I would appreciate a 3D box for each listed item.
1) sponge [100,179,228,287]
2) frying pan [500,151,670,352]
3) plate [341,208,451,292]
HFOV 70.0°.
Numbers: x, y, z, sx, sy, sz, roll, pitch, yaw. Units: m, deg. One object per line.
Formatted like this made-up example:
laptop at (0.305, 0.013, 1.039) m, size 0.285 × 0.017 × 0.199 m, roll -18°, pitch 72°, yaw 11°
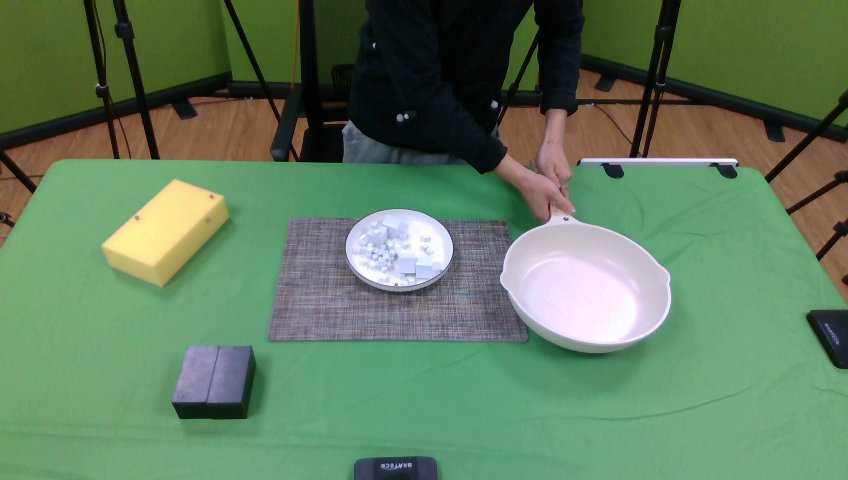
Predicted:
sponge at (-0.486, -0.018, 1.151) m, size 0.118 × 0.061 × 0.206 m, roll 19°, pitch 47°, yaw 12°
frying pan at (0.275, 0.003, 1.151) m, size 0.307 × 0.103 × 0.484 m, roll -1°, pitch 52°, yaw -6°
plate at (-0.053, 0.022, 1.156) m, size 0.208 × 0.039 × 0.206 m, roll 2°, pitch 46°, yaw -2°
